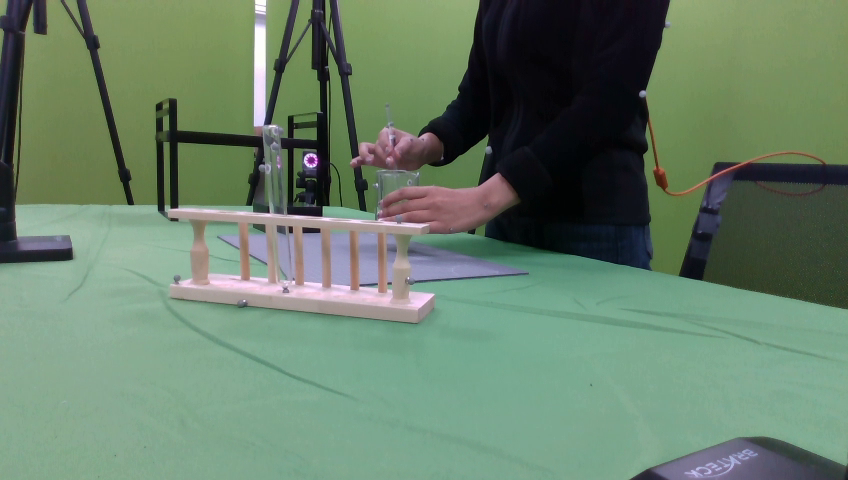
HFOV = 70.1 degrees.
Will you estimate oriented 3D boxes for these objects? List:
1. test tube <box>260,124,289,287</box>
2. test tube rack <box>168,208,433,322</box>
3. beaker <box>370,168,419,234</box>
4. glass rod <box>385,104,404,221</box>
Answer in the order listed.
[{"bbox_3d":[-0.137,-0.031,0.556,0.017,0.150,0.017,-3,6,1],"label":"test tube"},{"bbox_3d":[-0.115,0.018,0.574,0.242,0.085,0.067,4,8,13],"label":"test tube rack"},{"bbox_3d":[-0.042,-0.060,0.948,0.083,0.100,0.074,2,3,42],"label":"beaker"},{"bbox_3d":[-0.047,-0.120,0.972,0.008,0.199,0.008,-8,-2,0],"label":"glass rod"}]
